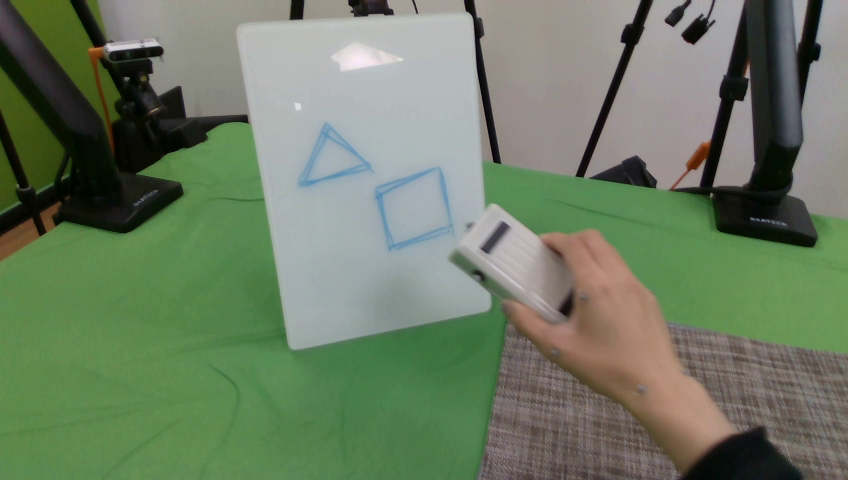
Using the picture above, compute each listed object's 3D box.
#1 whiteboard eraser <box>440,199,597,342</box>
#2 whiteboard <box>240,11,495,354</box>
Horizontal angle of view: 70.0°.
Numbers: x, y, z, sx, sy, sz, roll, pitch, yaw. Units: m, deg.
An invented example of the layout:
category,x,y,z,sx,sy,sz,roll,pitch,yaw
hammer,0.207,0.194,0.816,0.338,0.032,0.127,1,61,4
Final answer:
category,x,y,z,sx,sy,sz,roll,pitch,yaw
whiteboard eraser,0.071,0.023,0.459,0.112,0.042,0.055,37,62,3
whiteboard,-0.059,-0.068,0.642,0.218,0.307,0.143,-9,16,-15
